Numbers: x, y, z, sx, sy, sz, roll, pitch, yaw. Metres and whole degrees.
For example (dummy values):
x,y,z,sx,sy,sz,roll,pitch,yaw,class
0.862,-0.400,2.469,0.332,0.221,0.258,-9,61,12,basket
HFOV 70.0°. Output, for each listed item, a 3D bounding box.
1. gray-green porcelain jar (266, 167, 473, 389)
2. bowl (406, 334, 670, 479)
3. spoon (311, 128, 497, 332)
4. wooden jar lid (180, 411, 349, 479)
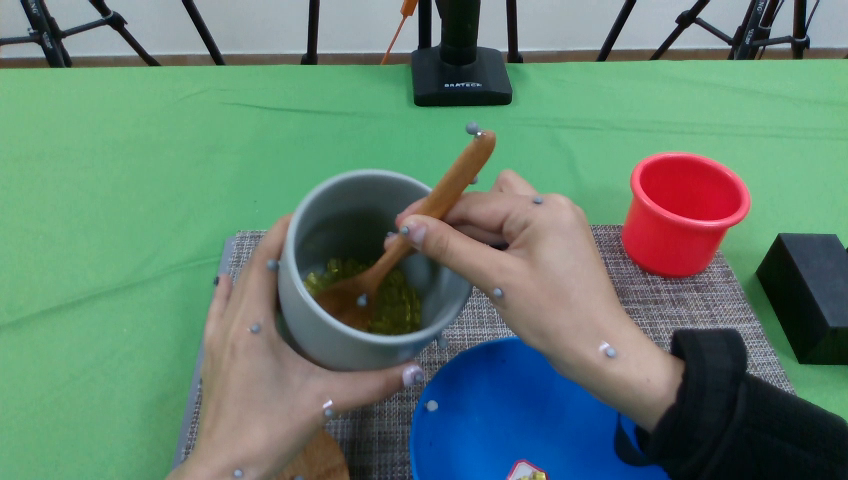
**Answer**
x,y,z,sx,sy,sz,roll,pitch,yaw,class
-0.041,0.032,0.377,0.106,0.127,0.105,9,62,-16,gray-green porcelain jar
0.064,0.142,0.374,0.151,0.077,0.150,1,46,-1,bowl
-0.017,0.008,0.346,0.042,0.194,0.021,35,40,-10,spoon
-0.102,0.163,0.388,0.108,0.021,0.107,1,45,0,wooden jar lid
